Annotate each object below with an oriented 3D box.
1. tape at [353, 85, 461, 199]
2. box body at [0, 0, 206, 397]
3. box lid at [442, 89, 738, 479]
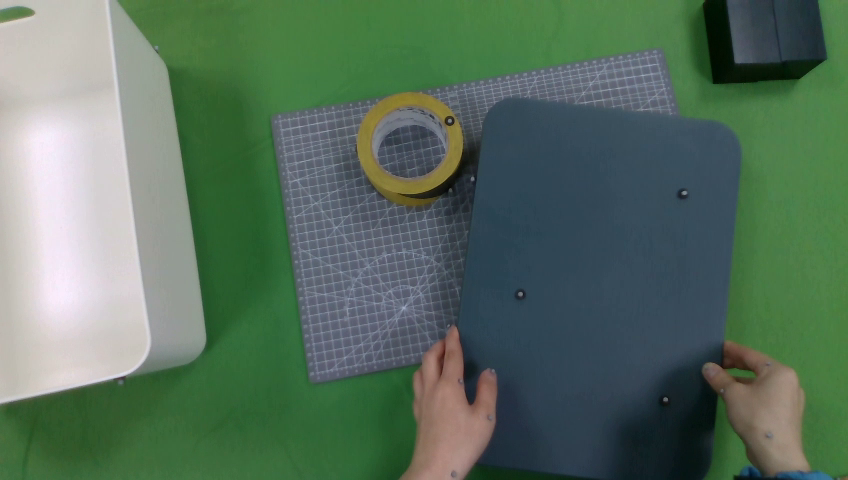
[{"bbox_3d":[-0.016,-0.102,0.645,0.117,0.053,0.116,0,82,0],"label":"tape"},{"bbox_3d":[-0.375,-0.038,0.581,0.254,0.161,0.362,-12,82,-2],"label":"box body"},{"bbox_3d":[0.168,0.039,0.605,0.263,0.015,0.370,7,86,0],"label":"box lid"}]
